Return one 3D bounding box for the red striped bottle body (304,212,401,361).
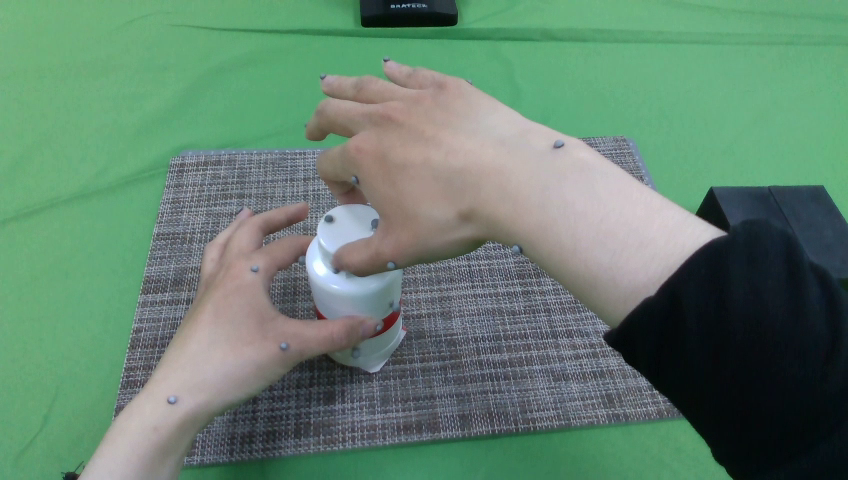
[{"bbox_3d":[-0.047,0.029,0.415,0.063,0.120,0.062,2,51,-2],"label":"red striped bottle body"}]

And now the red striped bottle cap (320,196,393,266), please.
[{"bbox_3d":[-0.042,-0.006,0.376,0.044,0.018,0.044,-2,58,4],"label":"red striped bottle cap"}]
